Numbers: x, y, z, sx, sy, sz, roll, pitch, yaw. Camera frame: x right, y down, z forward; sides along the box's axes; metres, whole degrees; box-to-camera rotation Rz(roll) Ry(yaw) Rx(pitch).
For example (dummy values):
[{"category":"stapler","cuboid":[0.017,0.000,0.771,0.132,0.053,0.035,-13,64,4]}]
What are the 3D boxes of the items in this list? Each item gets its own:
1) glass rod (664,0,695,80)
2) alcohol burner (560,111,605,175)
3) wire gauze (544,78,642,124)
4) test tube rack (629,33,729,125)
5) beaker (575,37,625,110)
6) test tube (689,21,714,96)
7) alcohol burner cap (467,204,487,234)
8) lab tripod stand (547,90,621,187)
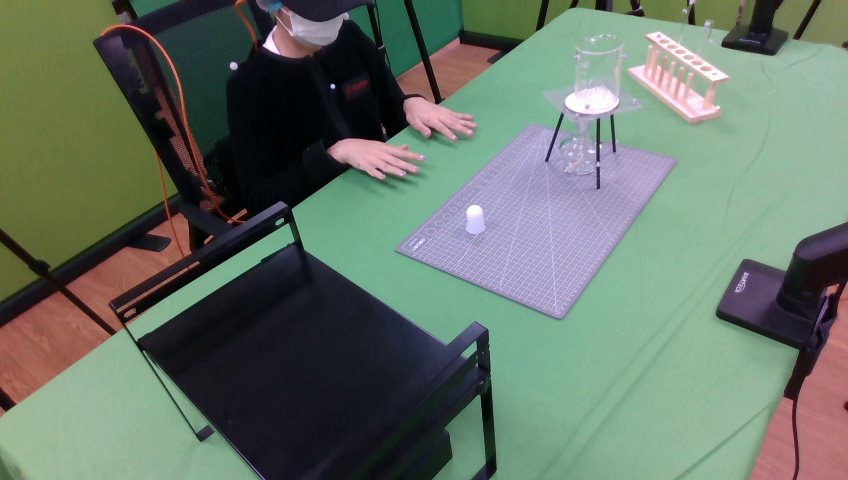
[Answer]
[{"category":"glass rod","cuboid":[0.523,-0.415,1.235,0.008,0.200,0.008,1,47,0]},{"category":"alcohol burner","cuboid":[0.281,-0.176,1.070,0.078,0.119,0.077,-4,43,5]},{"category":"wire gauze","cuboid":[0.282,-0.234,1.021,0.125,0.011,0.120,-17,38,-4]},{"category":"test tube rack","cuboid":[0.516,-0.337,1.247,0.067,0.085,0.240,-14,41,-7]},{"category":"beaker","cuboid":[0.283,-0.271,0.988,0.074,0.101,0.083,-10,39,1]},{"category":"test tube","cuboid":[0.541,-0.353,1.184,0.017,0.151,0.017,-2,40,2]},{"category":"alcohol burner cap","cuboid":[0.085,-0.037,0.993,0.034,0.048,0.033,-4,41,4]},{"category":"lab tripod stand","cuboid":[0.289,-0.184,1.062,0.148,0.132,0.147,-6,41,6]}]
